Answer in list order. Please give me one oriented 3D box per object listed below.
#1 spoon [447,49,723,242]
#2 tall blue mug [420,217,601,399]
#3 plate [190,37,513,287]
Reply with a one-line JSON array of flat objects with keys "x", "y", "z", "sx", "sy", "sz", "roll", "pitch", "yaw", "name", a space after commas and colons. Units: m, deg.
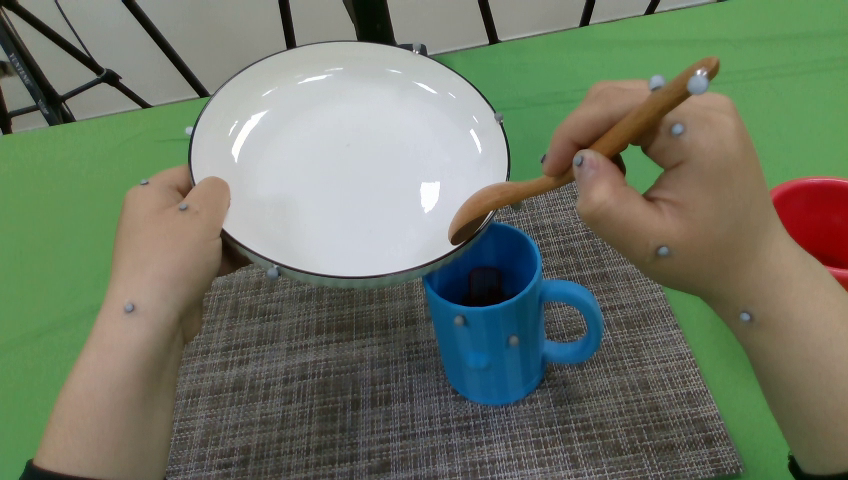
[{"x": 0.059, "y": -0.032, "z": 0.277, "sx": 0.041, "sy": 0.193, "sz": 0.021, "roll": -36, "pitch": 94, "yaw": -28, "name": "spoon"}, {"x": 0.058, "y": 0.045, "z": 0.415, "sx": 0.107, "sy": 0.109, "sz": 0.077, "roll": -14, "pitch": 44, "yaw": -1, "name": "tall blue mug"}, {"x": -0.045, "y": -0.055, "z": 0.409, "sx": 0.208, "sy": 0.039, "sz": 0.205, "roll": 3, "pitch": 56, "yaw": -4, "name": "plate"}]
